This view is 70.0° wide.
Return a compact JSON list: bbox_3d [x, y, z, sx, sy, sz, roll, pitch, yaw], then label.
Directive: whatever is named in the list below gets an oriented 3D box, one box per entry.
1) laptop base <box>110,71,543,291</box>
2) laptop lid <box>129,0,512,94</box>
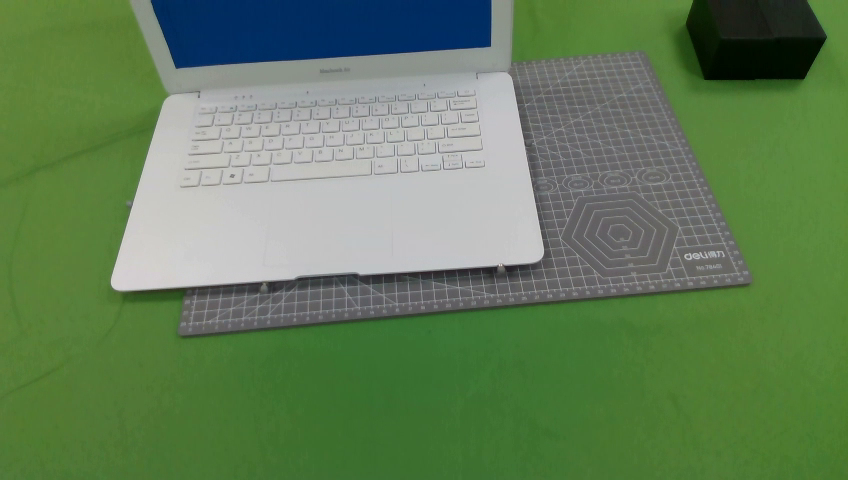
[{"bbox_3d":[-0.084,-0.061,0.555,0.354,0.023,0.233,-4,57,1],"label":"laptop base"},{"bbox_3d":[-0.095,-0.242,0.541,0.357,0.244,0.013,-5,44,2],"label":"laptop lid"}]
